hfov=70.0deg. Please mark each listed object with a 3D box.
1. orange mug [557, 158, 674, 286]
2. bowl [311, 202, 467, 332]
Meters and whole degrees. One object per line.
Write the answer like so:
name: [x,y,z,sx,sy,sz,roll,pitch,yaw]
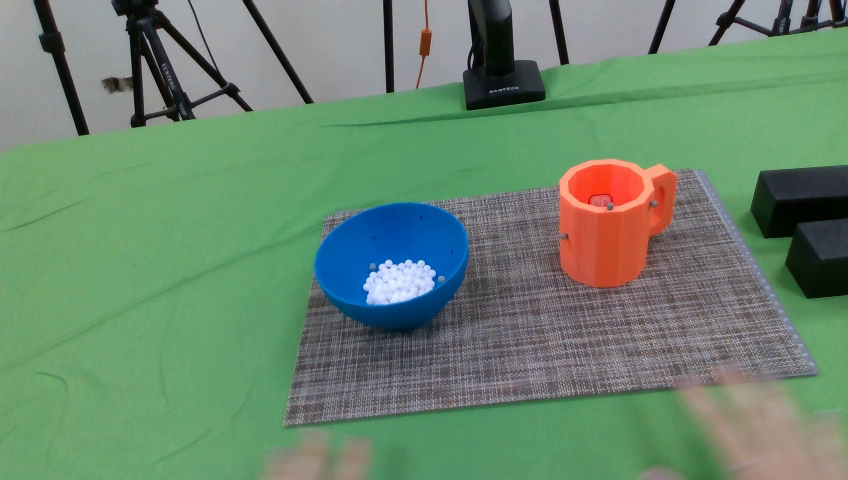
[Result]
orange mug: [0.192,-0.025,0.605,0.126,0.102,0.082,-25,42,-10]
bowl: [-0.027,0.038,0.599,0.151,0.077,0.150,-7,40,6]
